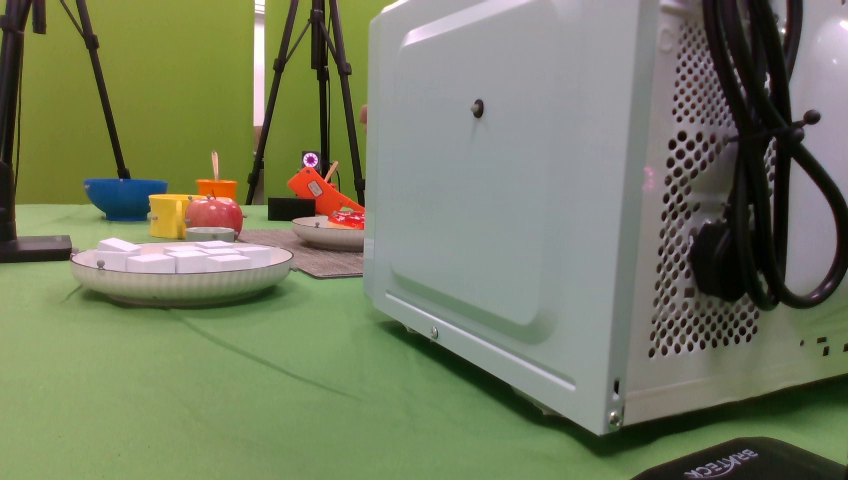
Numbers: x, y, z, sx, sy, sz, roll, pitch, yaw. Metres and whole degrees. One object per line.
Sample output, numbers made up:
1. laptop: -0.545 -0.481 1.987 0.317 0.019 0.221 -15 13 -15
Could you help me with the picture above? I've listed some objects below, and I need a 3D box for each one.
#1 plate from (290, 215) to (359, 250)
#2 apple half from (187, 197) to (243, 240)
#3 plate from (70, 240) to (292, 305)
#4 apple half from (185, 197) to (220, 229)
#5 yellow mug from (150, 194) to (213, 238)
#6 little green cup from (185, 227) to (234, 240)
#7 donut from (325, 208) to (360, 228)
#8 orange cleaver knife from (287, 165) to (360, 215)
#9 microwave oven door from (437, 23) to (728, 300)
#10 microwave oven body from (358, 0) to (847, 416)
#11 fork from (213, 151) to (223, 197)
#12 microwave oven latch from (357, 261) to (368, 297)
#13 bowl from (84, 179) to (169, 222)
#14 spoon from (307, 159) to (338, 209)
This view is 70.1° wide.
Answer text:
1. plate: -0.110 -0.014 0.973 0.209 0.038 0.209 3 8 0
2. apple half: -0.305 -0.026 0.907 0.053 0.074 0.081 12 8 31
3. plate: -0.242 0.031 0.618 0.208 0.039 0.207 2 8 0
4. apple half: -0.338 -0.031 0.927 0.032 0.081 0.081 12 12 31
5. yellow mug: -0.401 -0.040 1.003 0.100 0.064 0.130 -1 9 -20
6. little green cup: -0.285 0.005 0.805 0.061 0.038 0.061 2 8 0
7. donut: -0.111 -0.025 0.974 0.099 0.048 0.099 5 8 0
8. orange cleaver knife: -0.211 -0.093 1.382 0.212 0.077 0.012 33 1 -15
9. microwave oven door: 0.181 -0.072 0.621 0.358 0.243 0.039 -2 8 -29
10. microwave oven body: 0.211 -0.047 0.474 0.444 0.260 0.324 -1 7 -28
11. fork: -0.494 -0.143 1.442 0.028 0.018 0.206 -2 52 -20
12. microwave oven latch: -0.019 0.033 0.531 0.079 0.029 0.030 -1 7 -27
13. bowl: -0.584 -0.078 1.194 0.151 0.077 0.151 3 8 0
14. spoon: -0.257 -0.147 1.567 0.041 0.022 0.193 1 50 20
